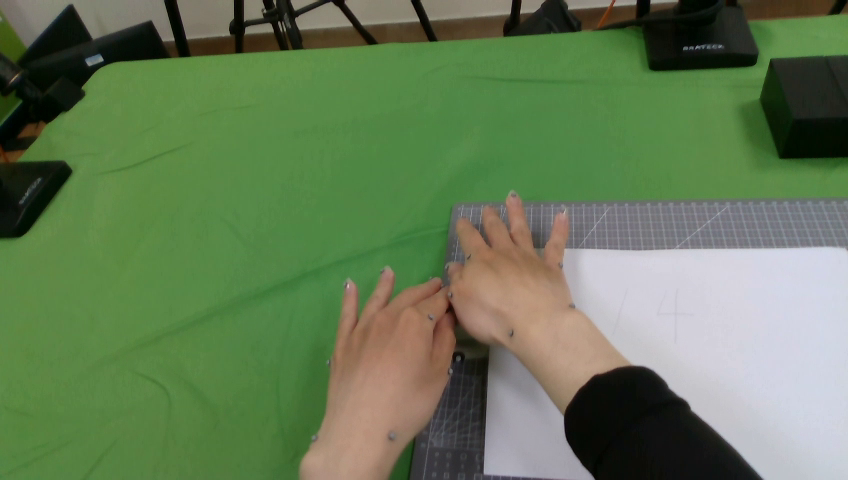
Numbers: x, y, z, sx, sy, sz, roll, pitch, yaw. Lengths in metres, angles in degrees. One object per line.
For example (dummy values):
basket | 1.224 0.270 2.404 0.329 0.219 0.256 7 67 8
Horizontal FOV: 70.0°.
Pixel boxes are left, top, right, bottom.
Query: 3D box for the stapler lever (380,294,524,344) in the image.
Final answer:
stapler lever | 0.022 0.065 0.494 0.118 0.040 0.026 -2 45 4

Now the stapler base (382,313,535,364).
stapler base | 0.026 0.077 0.508 0.130 0.025 0.041 -7 45 8
